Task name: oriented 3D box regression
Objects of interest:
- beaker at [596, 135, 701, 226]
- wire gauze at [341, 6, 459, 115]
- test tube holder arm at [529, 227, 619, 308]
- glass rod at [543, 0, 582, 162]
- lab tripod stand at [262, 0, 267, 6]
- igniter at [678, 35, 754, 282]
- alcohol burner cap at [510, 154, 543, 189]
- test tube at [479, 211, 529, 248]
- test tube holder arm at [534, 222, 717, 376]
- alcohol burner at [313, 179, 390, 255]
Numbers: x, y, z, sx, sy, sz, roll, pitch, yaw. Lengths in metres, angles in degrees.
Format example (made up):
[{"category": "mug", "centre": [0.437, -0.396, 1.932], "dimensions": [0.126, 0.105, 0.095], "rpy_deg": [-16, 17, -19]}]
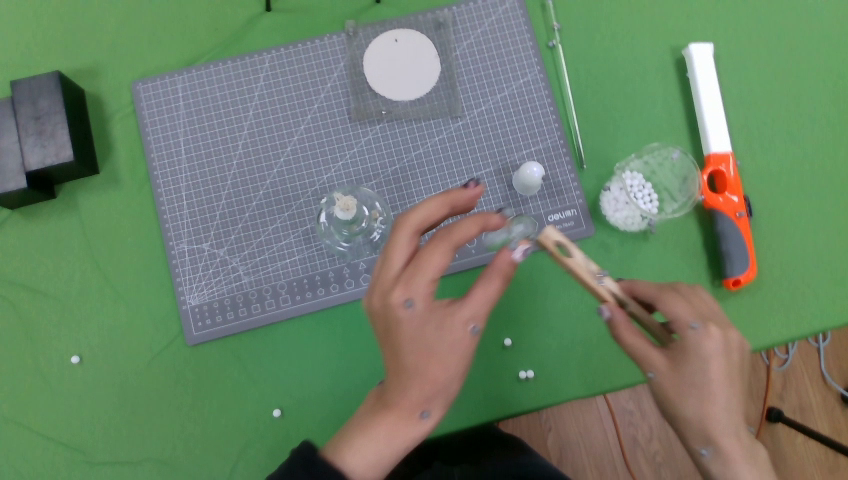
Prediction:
[{"category": "beaker", "centre": [0.221, -0.057, 0.620], "dimensions": [0.084, 0.100, 0.074], "rpy_deg": [16, 81, 3]}, {"category": "wire gauze", "centre": [-0.028, -0.200, 0.678], "dimensions": [0.125, 0.011, 0.121], "rpy_deg": [-4, 83, -3]}, {"category": "test tube holder arm", "centre": [0.120, 0.022, 0.477], "dimensions": [0.088, 0.015, 0.010], "rpy_deg": [40, 81, 2]}, {"category": "glass rod", "centre": [0.155, -0.183, 0.681], "dimensions": [0.008, 0.008, 0.199], "rpy_deg": [-10, 85, -3]}, {"category": "lab tripod stand", "centre": [-0.122, -0.316, 0.631], "dimensions": [0.148, 0.131, 0.148], "rpy_deg": [0, 84, -1]}, {"category": "igniter", "centre": [0.319, -0.092, 0.663], "dimensions": [0.057, 0.025, 0.275], "rpy_deg": [-6, 82, -12]}, {"category": "alcohol burner cap", "centre": [0.112, -0.076, 0.646], "dimensions": [0.034, 0.048, 0.033], "rpy_deg": [0, 82, -1]}, {"category": "test tube", "centre": [0.054, -0.005, 0.426], "dimensions": [0.017, 0.150, 0.017], "rpy_deg": [0, 87, -1]}, {"category": "test tube holder arm", "centre": [0.158, 0.046, 0.477], "dimensions": [0.178, 0.015, 0.013], "rpy_deg": [38, 81, 1]}, {"category": "alcohol burner", "centre": [-0.074, -0.026, 0.600], "dimensions": [0.078, 0.119, 0.077], "rpy_deg": [0, 81, 1]}]
